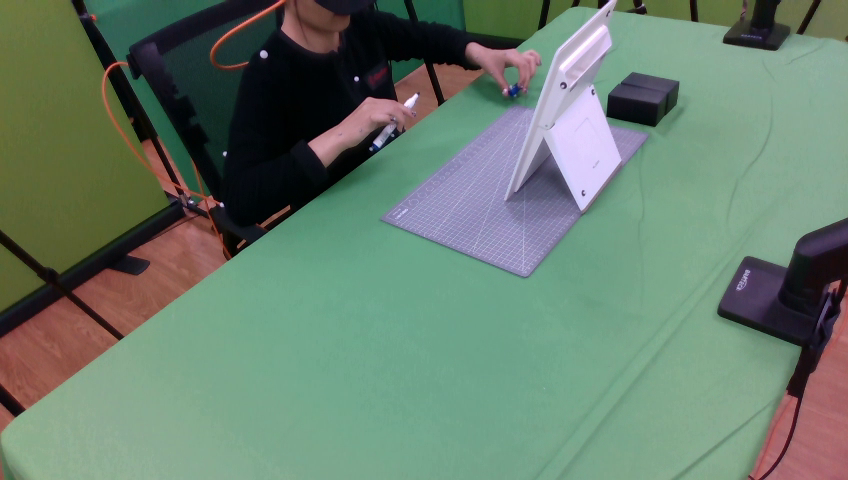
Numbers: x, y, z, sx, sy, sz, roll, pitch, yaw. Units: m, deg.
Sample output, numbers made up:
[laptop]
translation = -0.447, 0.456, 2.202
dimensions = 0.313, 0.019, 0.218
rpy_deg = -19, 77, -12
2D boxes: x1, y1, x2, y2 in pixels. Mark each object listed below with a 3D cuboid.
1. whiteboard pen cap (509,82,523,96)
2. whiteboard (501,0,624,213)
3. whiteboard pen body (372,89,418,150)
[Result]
[whiteboard pen cap]
translation = 0.196, -0.324, 1.298
dimensions = 0.018, 0.018, 0.033
rpy_deg = 31, 69, 38
[whiteboard]
translation = 0.271, -0.189, 0.977
dimensions = 0.143, 0.306, 0.218
rpy_deg = 34, 53, 16
[whiteboard pen body]
translation = -0.053, -0.227, 1.134
dimensions = 0.017, 0.017, 0.141
rpy_deg = 31, 82, 37
